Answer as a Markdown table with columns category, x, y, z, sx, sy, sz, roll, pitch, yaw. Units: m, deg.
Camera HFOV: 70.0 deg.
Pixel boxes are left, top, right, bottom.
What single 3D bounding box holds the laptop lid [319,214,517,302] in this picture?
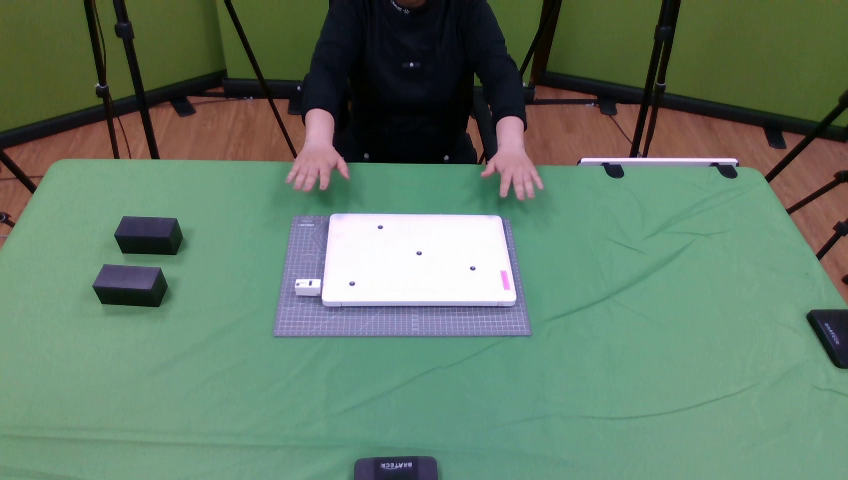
| category | x | y | z | sx | sy | sz | roll | pitch | yaw |
| --- | --- | --- | --- | --- | --- | --- | --- | --- | --- |
| laptop lid | -0.013 | 0.029 | 1.154 | 0.357 | 0.013 | 0.240 | 2 | 43 | -3 |

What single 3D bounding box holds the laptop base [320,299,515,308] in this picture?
| category | x | y | z | sx | sy | sz | roll | pitch | yaw |
| --- | --- | --- | --- | --- | --- | --- | --- | --- | --- |
| laptop base | -0.013 | 0.039 | 1.160 | 0.355 | 0.023 | 0.234 | 0 | 43 | -4 |

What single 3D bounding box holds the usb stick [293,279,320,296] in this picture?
| category | x | y | z | sx | sy | sz | roll | pitch | yaw |
| --- | --- | --- | --- | --- | --- | --- | --- | --- | --- |
| usb stick | -0.202 | 0.086 | 1.083 | 0.059 | 0.027 | 0.021 | 3 | 46 | -5 |
